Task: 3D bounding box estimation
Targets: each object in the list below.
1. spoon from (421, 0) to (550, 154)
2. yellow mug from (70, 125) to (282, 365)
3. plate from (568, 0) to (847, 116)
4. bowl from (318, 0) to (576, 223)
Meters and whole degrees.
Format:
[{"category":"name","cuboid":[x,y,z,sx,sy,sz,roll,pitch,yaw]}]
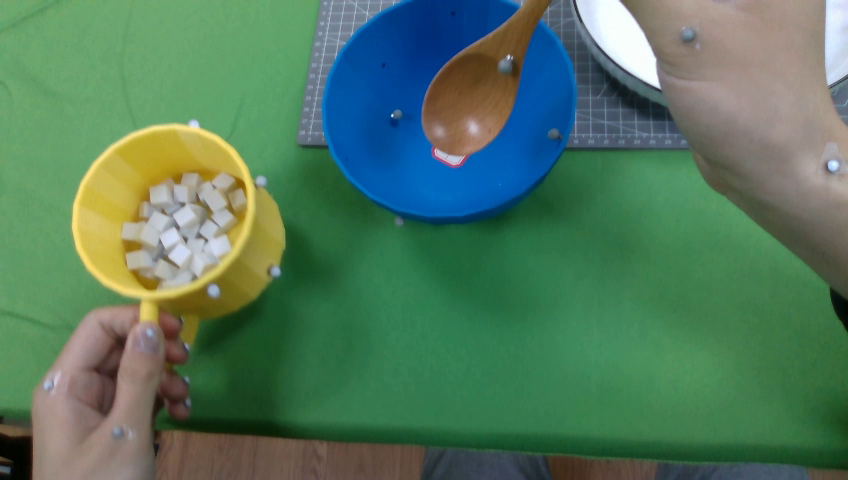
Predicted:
[{"category":"spoon","cuboid":[0.051,-0.103,0.238,0.041,0.194,0.021,36,48,-3]},{"category":"yellow mug","cuboid":[-0.142,0.007,0.354,0.100,0.064,0.130,2,75,1]},{"category":"plate","cuboid":[0.204,-0.172,0.423,0.209,0.038,0.207,-2,69,6]},{"category":"bowl","cuboid":[0.017,-0.073,0.387,0.151,0.077,0.150,-2,73,7]}]
